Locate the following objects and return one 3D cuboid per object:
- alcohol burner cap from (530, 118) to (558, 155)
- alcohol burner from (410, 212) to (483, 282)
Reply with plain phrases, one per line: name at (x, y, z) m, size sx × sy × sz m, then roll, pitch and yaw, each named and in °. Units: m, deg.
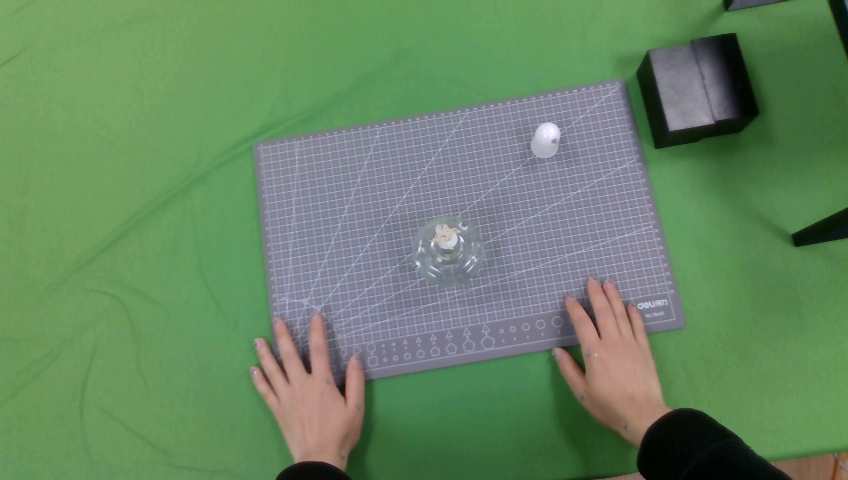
alcohol burner cap at (0.138, -0.121, 0.689) m, size 0.034 × 0.048 × 0.033 m, roll -1°, pitch 78°, yaw 4°
alcohol burner at (0.023, 0.004, 0.632) m, size 0.078 × 0.119 × 0.077 m, roll -1°, pitch 78°, yaw 4°
